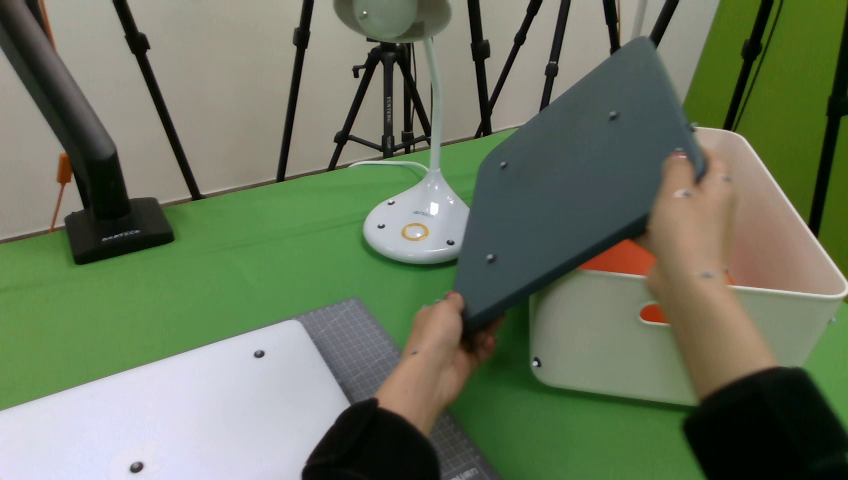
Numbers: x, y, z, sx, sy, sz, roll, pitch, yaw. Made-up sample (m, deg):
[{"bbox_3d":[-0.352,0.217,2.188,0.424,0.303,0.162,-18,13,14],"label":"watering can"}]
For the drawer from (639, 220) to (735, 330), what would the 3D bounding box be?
[{"bbox_3d":[0.230,0.044,0.700,0.194,0.074,0.210,3,30,4],"label":"drawer"}]

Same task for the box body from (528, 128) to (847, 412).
[{"bbox_3d":[0.250,0.007,0.691,0.254,0.161,0.361,6,33,6],"label":"box body"}]

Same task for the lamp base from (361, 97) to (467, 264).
[{"bbox_3d":[-0.002,-0.087,0.801,0.160,0.181,0.178,6,31,5],"label":"lamp base"}]

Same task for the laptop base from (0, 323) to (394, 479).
[{"bbox_3d":[-0.230,0.194,0.495,0.355,0.023,0.233,-16,41,-27],"label":"laptop base"}]

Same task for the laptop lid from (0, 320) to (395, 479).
[{"bbox_3d":[-0.228,0.185,0.487,0.358,0.013,0.239,-15,39,-25],"label":"laptop lid"}]

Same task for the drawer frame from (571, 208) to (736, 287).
[{"bbox_3d":[0.231,0.039,0.700,0.201,0.083,0.212,5,31,4],"label":"drawer frame"}]

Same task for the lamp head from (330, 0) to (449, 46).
[{"bbox_3d":[-0.028,-0.263,0.578,0.112,0.113,0.122,3,73,1],"label":"lamp head"}]

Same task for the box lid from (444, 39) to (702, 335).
[{"bbox_3d":[0.139,-0.073,0.637,0.015,0.263,0.368,43,31,-17],"label":"box lid"}]
